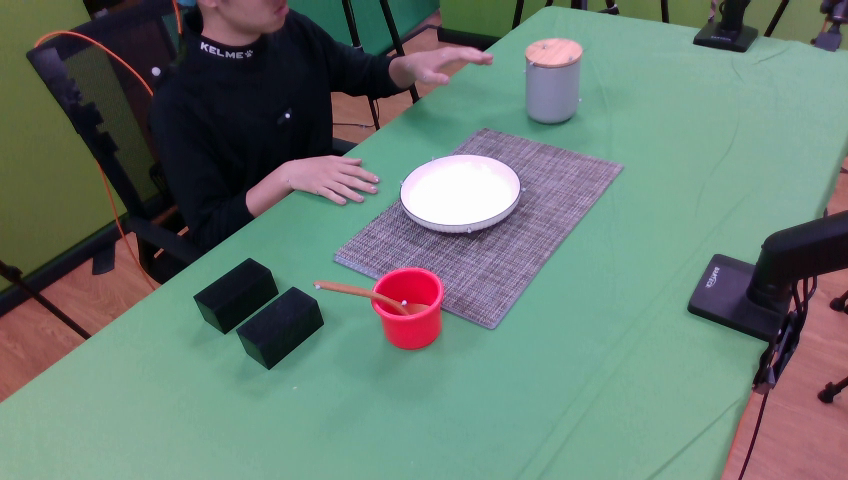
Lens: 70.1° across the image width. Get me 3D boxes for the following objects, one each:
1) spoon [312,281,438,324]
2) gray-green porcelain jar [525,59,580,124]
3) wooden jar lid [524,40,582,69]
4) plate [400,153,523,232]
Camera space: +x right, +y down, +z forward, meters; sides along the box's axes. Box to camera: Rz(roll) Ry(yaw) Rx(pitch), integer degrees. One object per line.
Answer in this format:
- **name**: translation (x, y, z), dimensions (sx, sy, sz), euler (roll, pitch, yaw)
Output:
- **spoon**: translation (-0.060, 0.078, 0.793), dimensions (0.195, 0.021, 0.041), euler (24, 24, -35)
- **gray-green porcelain jar**: translation (0.256, -0.305, 1.209), dimensions (0.106, 0.127, 0.105), euler (-4, 41, 4)
- **wooden jar lid**: translation (0.249, -0.354, 1.167), dimensions (0.108, 0.021, 0.108), euler (-4, 44, 5)
- **plate**: translation (0.065, -0.078, 1.034), dimensions (0.207, 0.039, 0.206), euler (-4, 41, 4)
